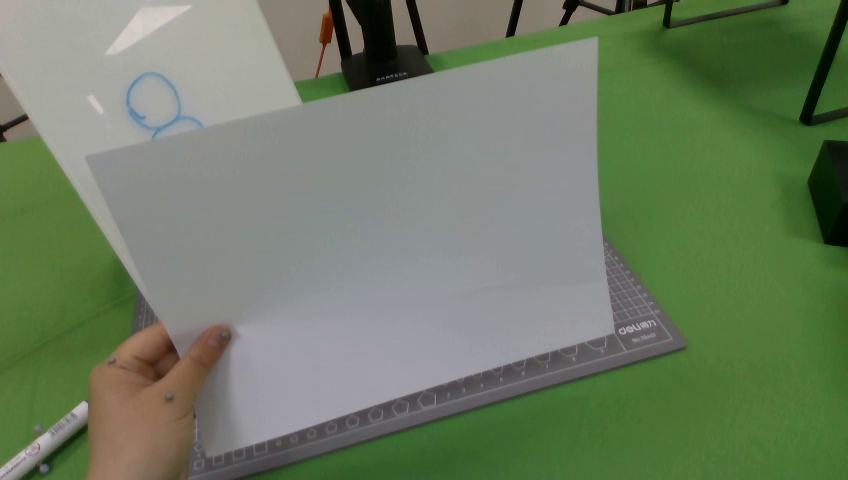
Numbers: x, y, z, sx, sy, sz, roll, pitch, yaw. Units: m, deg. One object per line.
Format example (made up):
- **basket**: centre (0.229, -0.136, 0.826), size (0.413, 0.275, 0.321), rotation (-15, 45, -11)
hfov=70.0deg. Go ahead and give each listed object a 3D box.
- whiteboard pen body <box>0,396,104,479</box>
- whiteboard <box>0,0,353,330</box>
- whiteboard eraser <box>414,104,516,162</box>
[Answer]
- **whiteboard pen body**: centre (-0.302, 0.169, 0.447), size (0.017, 0.017, 0.140), rotation (22, 47, 29)
- **whiteboard**: centre (-0.244, -0.112, 0.589), size (0.217, 0.308, 0.142), rotation (-35, 28, -27)
- **whiteboard eraser**: centre (0.048, -0.125, 0.718), size (0.113, 0.042, 0.055), rotation (-16, 44, -11)
